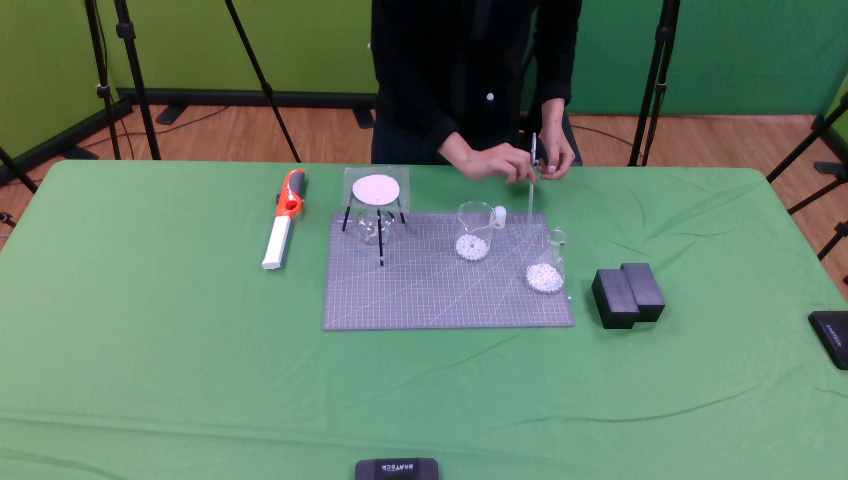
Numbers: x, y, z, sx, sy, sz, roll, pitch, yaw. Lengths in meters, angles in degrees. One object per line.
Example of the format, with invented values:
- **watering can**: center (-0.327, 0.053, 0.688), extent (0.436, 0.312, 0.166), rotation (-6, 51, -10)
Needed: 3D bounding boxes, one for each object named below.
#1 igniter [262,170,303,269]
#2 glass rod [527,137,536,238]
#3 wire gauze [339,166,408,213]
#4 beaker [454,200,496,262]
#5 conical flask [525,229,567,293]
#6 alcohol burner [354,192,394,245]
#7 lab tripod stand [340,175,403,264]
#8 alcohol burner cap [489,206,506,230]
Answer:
- **igniter**: center (-0.283, -0.050, 1.222), extent (0.057, 0.025, 0.275), rotation (-5, 45, 6)
- **glass rod**: center (0.210, -0.103, 1.182), extent (0.008, 0.008, 0.199), rotation (4, 89, 0)
- **wire gauze**: center (-0.091, -0.096, 1.110), extent (0.125, 0.011, 0.120), rotation (2, 45, -3)
- **beaker**: center (0.094, -0.012, 1.162), extent (0.074, 0.101, 0.083), rotation (17, 48, 12)
- **conical flask**: center (0.231, 0.036, 1.110), extent (0.075, 0.122, 0.075), rotation (2, 46, -2)
- **alcohol burner**: center (-0.096, -0.048, 1.171), extent (0.078, 0.119, 0.077), rotation (4, 45, -4)
- **lab tripod stand**: center (-0.093, -0.050, 1.160), extent (0.148, 0.132, 0.147), rotation (2, 44, -2)
- **alcohol burner cap**: center (0.152, -0.047, 1.241), extent (0.034, 0.048, 0.033), rotation (2, 45, -2)
